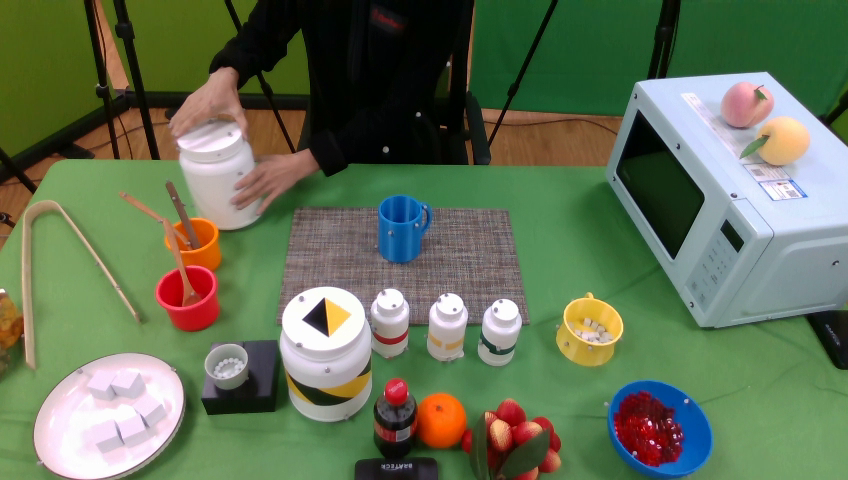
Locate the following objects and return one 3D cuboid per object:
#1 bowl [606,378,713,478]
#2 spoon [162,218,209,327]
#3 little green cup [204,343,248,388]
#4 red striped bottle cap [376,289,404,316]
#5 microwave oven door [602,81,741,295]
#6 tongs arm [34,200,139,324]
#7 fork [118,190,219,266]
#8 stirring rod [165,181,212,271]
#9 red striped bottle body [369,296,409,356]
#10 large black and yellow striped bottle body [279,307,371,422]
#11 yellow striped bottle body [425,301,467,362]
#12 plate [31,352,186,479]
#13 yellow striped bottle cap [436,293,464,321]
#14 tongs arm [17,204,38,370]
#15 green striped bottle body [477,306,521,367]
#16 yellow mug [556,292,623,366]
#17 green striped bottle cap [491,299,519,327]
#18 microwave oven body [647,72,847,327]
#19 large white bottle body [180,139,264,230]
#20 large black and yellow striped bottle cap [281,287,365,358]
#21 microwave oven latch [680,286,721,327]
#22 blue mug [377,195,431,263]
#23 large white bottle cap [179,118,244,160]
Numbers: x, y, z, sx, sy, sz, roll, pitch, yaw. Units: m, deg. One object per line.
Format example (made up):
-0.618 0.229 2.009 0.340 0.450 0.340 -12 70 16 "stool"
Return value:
0.340 0.292 0.906 0.151 0.077 0.150 2 46 -2 "bowl"
-0.410 0.054 1.029 0.041 0.021 0.194 -17 94 -16 "spoon"
-0.294 0.190 0.909 0.061 0.039 0.061 1 48 -1 "little green cup"
-0.055 0.098 0.959 0.044 0.018 0.044 0 48 1 "red striped bottle cap"
0.456 -0.107 1.162 0.039 0.245 0.353 -6 47 -11 "microwave oven door"
-0.622 0.034 1.105 0.051 0.026 0.382 -32 56 -26 "tongs arm"
-0.459 -0.020 1.092 0.208 0.018 0.028 44 44 -24 "fork"
-0.430 -0.025 1.106 0.014 0.006 0.176 -25 94 -20 "stirring rod"
-0.058 0.134 0.997 0.063 0.120 0.062 4 47 -4 "red striped bottle body"
-0.145 0.173 0.907 0.131 0.185 0.130 2 46 -2 "large black and yellow striped bottle body"
0.037 0.142 0.996 0.063 0.121 0.062 3 47 -3 "yellow striped bottle body"
-0.459 0.262 0.898 0.209 0.038 0.208 2 46 -2 "plate"
0.041 0.106 0.959 0.044 0.019 0.044 -1 49 1 "yellow striped bottle cap"
-0.698 0.069 1.069 0.028 0.028 0.385 -20 50 -13 "tongs arm"
0.124 0.151 0.995 0.063 0.120 0.063 2 46 -1 "green striped bottle body"
0.285 0.145 1.051 0.100 0.064 0.130 7 45 3 "yellow mug"
0.128 0.115 0.958 0.044 0.020 0.044 1 47 -1 "green striped bottle cap"
0.607 -0.089 1.164 0.326 0.261 0.438 -7 46 -10 "microwave oven body"
-0.390 -0.125 1.169 0.130 0.185 0.130 0 43 0 "large white bottle body"
-0.141 0.112 0.847 0.115 0.019 0.114 5 45 -4 "large black and yellow striped bottle cap"
0.494 0.119 1.087 0.030 0.029 0.078 -6 46 -10 "microwave oven latch"
-0.035 -0.027 1.159 0.116 0.106 0.082 -24 53 -25 "blue mug"
-0.389 -0.187 1.110 0.115 0.018 0.114 0 43 0 "large white bottle cap"
